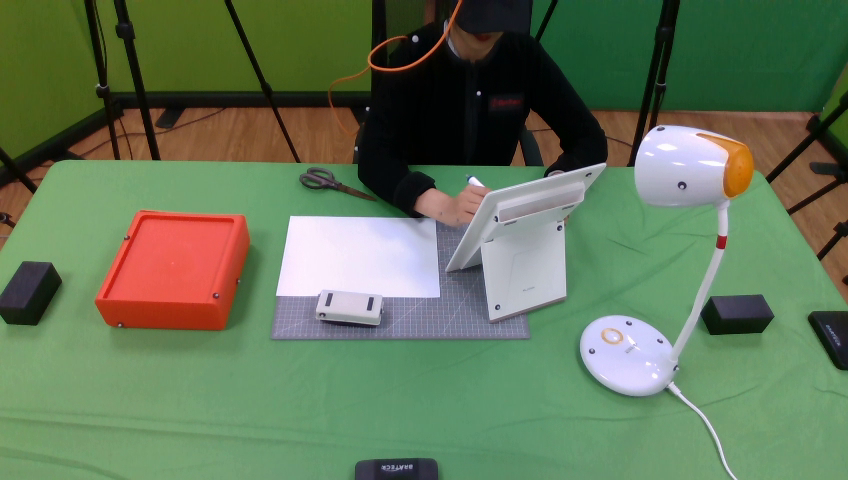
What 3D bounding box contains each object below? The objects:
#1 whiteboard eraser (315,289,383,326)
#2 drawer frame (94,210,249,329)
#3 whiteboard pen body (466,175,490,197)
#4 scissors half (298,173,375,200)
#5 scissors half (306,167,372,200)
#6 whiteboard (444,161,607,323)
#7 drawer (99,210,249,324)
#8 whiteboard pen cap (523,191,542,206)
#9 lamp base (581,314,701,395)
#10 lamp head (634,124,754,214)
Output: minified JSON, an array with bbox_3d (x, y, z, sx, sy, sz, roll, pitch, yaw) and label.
[{"bbox_3d":[-0.130,0.119,1.054,0.113,0.042,0.055,6,47,1],"label":"whiteboard eraser"},{"bbox_3d":[-0.435,0.048,1.076,0.202,0.083,0.212,2,47,-3],"label":"drawer frame"},{"bbox_3d":[0.126,-0.073,1.102,0.017,0.017,0.140,-28,58,-27],"label":"whiteboard pen body"},{"bbox_3d":[-0.188,-0.110,1.296,0.175,0.013,0.040,15,42,5],"label":"scissors half"},{"bbox_3d":[-0.180,-0.121,1.311,0.174,0.013,0.040,27,39,18],"label":"scissors half"},{"bbox_3d":[0.186,0.025,1.029,0.217,0.306,0.143,-14,68,-18],"label":"whiteboard"},{"bbox_3d":[-0.435,0.044,1.081,0.194,0.073,0.210,3,47,-2],"label":"drawer"},{"bbox_3d":[0.207,-0.079,1.156,0.033,0.018,0.018,30,46,-11],"label":"whiteboard pen cap"},{"bbox_3d":[0.361,0.145,0.972,0.178,0.181,0.160,34,53,23],"label":"lamp base"},{"bbox_3d":[0.351,-0.089,0.776,0.112,0.113,0.122,-30,30,-28],"label":"lamp head"}]
